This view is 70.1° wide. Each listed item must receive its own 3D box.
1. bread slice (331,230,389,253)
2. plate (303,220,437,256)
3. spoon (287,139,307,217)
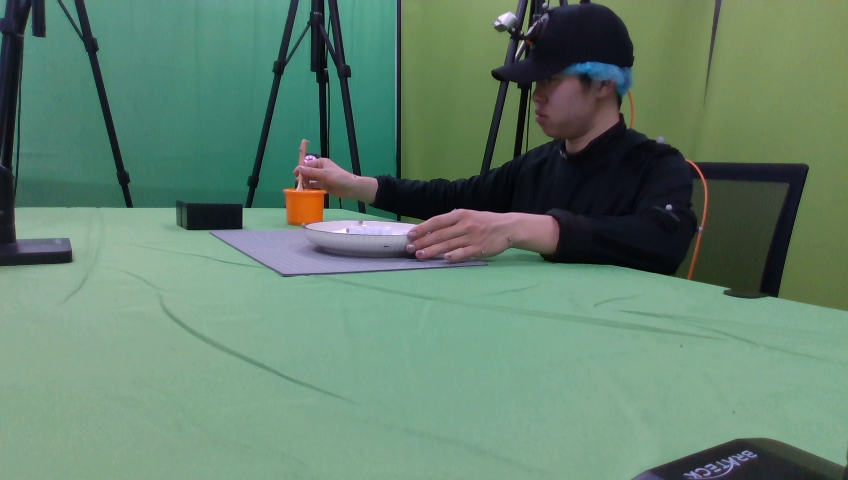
[{"bbox_3d":[-0.088,0.000,0.947,0.105,0.019,0.131,-4,11,-44],"label":"bread slice"},{"bbox_3d":[-0.084,-0.003,0.951,0.209,0.038,0.209,3,7,0],"label":"plate"},{"bbox_3d":[-0.272,-0.138,1.324,0.042,0.193,0.021,6,-28,-13],"label":"spoon"}]
